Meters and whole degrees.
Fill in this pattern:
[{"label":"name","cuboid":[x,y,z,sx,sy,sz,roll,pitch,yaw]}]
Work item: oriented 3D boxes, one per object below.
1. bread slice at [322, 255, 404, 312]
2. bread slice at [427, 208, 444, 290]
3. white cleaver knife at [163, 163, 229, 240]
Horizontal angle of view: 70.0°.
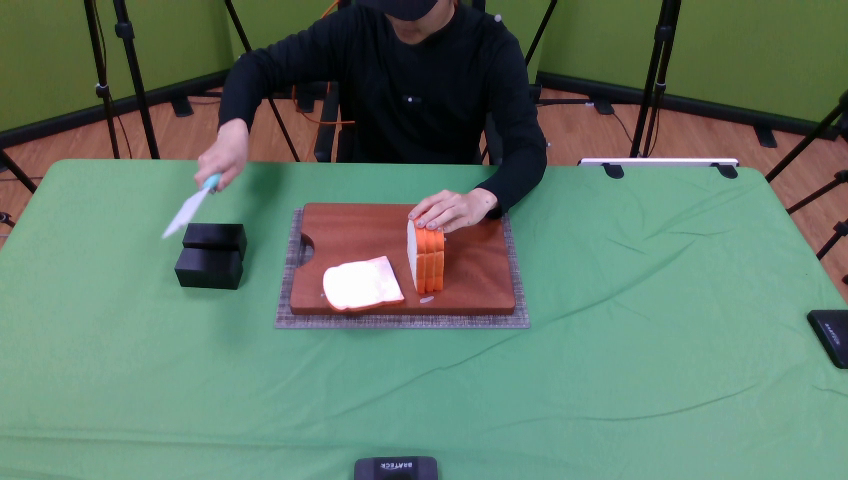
[{"label":"bread slice","cuboid":[-0.114,0.079,1.068,0.132,0.019,0.104,-10,51,-18]},{"label":"bread slice","cuboid":[0.019,0.011,1.069,0.018,0.135,0.106,-3,53,-6]},{"label":"white cleaver knife","cuboid":[-0.401,-0.076,1.069,0.066,0.021,0.285,-27,24,9]}]
